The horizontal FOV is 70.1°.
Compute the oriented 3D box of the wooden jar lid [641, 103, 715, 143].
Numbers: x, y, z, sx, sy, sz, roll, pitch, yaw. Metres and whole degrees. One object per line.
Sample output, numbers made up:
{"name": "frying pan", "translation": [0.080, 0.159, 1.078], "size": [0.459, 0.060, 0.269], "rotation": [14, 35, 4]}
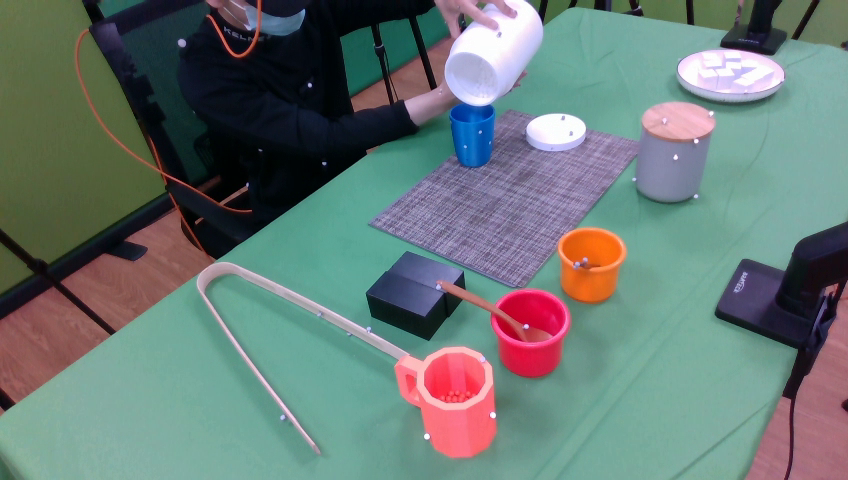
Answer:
{"name": "wooden jar lid", "translation": [0.398, -0.180, 0.952], "size": [0.108, 0.021, 0.108], "rotation": [-4, 43, 4]}

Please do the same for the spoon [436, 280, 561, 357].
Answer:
{"name": "spoon", "translation": [0.096, 0.095, 0.757], "size": [0.195, 0.021, 0.041], "rotation": [34, 40, -20]}

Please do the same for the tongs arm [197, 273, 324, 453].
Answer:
{"name": "tongs arm", "translation": [-0.236, 0.154, 0.830], "size": [0.028, 0.028, 0.384], "rotation": [-36, 47, -18]}

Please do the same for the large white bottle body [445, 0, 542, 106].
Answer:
{"name": "large white bottle body", "translation": [0.125, -0.341, 1.102], "size": [0.130, 0.131, 0.184], "rotation": [16, 52, 25]}

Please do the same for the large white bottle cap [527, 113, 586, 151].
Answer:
{"name": "large white bottle cap", "translation": [0.259, -0.213, 1.183], "size": [0.115, 0.018, 0.114], "rotation": [-4, 41, 4]}

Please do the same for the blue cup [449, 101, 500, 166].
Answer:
{"name": "blue cup", "translation": [0.092, -0.194, 1.123], "size": [0.092, 0.100, 0.092], "rotation": [-3, 40, 3]}

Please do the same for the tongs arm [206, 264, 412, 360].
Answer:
{"name": "tongs arm", "translation": [-0.179, 0.107, 0.870], "size": [0.381, 0.026, 0.051], "rotation": [23, 53, 32]}

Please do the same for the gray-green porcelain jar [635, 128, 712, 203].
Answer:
{"name": "gray-green porcelain jar", "translation": [0.404, -0.133, 0.992], "size": [0.106, 0.127, 0.105], "rotation": [-4, 40, 4]}

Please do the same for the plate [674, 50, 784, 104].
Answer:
{"name": "plate", "translation": [0.631, -0.336, 1.262], "size": [0.207, 0.039, 0.206], "rotation": [-4, 41, 4]}

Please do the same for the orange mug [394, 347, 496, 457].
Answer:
{"name": "orange mug", "translation": [0.024, 0.181, 0.703], "size": [0.125, 0.101, 0.083], "rotation": [20, 48, 23]}

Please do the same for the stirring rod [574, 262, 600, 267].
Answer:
{"name": "stirring rod", "translation": [0.222, 0.033, 0.816], "size": [0.014, 0.006, 0.177], "rotation": [7, 1, 22]}
